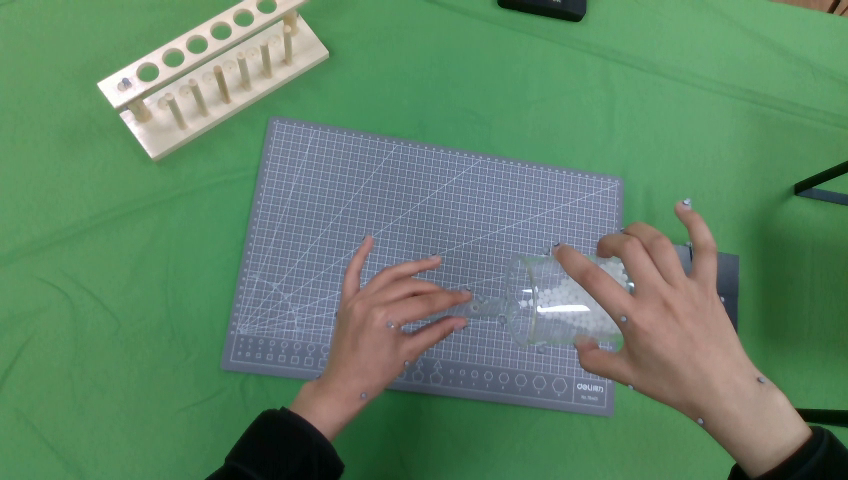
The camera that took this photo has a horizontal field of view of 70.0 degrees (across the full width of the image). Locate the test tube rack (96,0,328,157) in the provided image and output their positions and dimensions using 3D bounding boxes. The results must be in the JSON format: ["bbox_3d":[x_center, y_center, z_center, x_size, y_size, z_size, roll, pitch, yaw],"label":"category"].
[{"bbox_3d":[-0.226,-0.198,0.683,0.242,0.085,0.066,-36,85,-15],"label":"test tube rack"}]

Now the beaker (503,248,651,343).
[{"bbox_3d":[0.121,0.045,0.489,0.100,0.084,0.073,-1,78,-10],"label":"beaker"}]

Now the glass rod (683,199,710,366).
[{"bbox_3d":[0.321,0.048,0.714,0.008,0.008,0.199,-1,78,-9],"label":"glass rod"}]

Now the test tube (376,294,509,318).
[{"bbox_3d":[0.012,0.062,0.562,0.017,0.149,0.017,12,74,-50],"label":"test tube"}]
